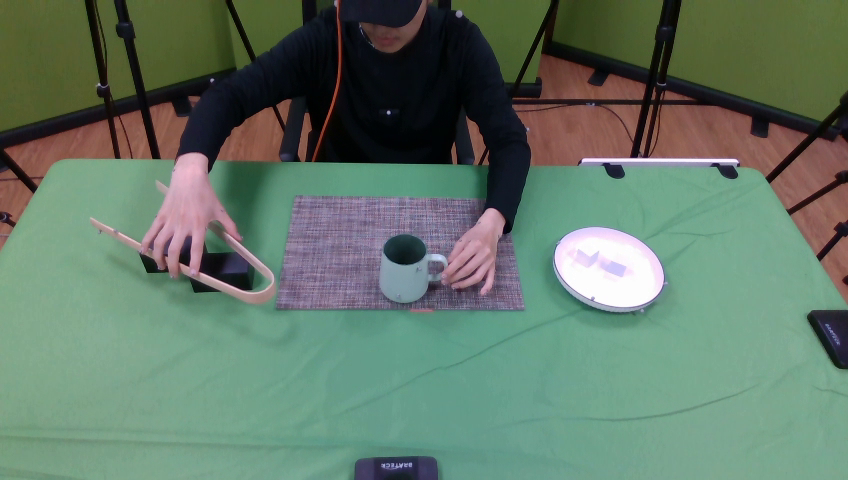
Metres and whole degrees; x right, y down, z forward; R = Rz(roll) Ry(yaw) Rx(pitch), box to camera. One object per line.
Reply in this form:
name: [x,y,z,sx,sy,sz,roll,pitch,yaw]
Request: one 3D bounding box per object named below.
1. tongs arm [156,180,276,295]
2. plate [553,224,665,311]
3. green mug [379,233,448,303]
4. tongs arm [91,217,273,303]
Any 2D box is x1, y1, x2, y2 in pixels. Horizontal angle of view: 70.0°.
tongs arm: [-0.389,-0.015,1.115,0.385,0.028,0.028,33,45,27]
plate: [0.349,0.055,1.159,0.209,0.038,0.208,2,47,-2]
green mug: [-0.019,0.050,1.084,0.125,0.105,0.092,-1,46,-4]
tongs arm: [-0.432,0.026,1.067,0.383,0.026,0.050,24,44,19]
